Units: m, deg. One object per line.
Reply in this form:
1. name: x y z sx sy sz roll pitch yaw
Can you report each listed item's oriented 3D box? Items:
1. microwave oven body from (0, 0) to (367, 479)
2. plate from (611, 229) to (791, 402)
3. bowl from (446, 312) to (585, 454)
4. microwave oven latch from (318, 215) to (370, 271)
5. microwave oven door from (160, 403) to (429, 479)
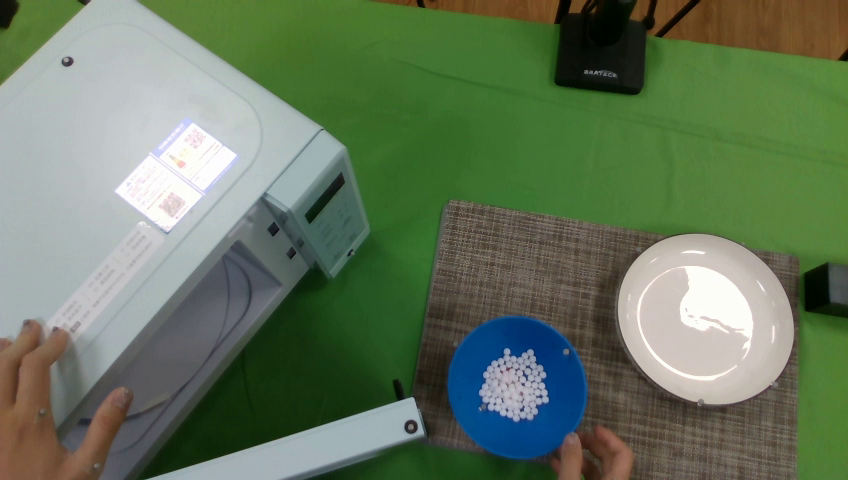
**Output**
1. microwave oven body: -0.325 0.022 0.635 0.325 0.261 0.441 35 77 10
2. plate: 0.325 0.090 0.726 0.208 0.039 0.206 0 73 0
3. bowl: 0.099 0.162 0.684 0.151 0.077 0.150 0 73 1
4. microwave oven latch: -0.099 -0.002 0.742 0.030 0.029 0.079 37 77 10
5. microwave oven door: -0.171 0.218 0.568 0.356 0.245 0.039 -16 72 -5
